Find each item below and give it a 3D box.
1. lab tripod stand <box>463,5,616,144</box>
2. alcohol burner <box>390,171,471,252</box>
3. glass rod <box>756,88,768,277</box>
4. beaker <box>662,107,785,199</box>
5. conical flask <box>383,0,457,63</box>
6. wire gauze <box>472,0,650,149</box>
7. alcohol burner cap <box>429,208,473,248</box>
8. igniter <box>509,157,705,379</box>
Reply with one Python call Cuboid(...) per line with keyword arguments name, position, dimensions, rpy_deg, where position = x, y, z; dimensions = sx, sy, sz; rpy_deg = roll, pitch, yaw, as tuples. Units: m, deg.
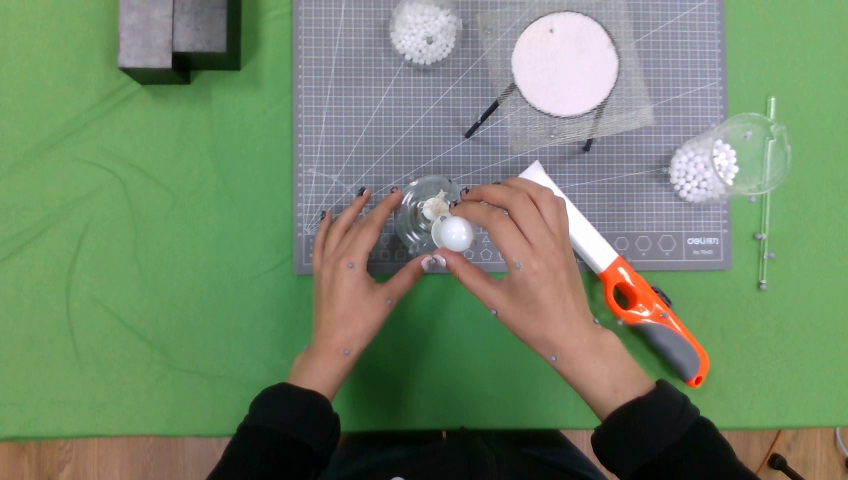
Cuboid(name="lab tripod stand", position=(0.109, -0.143, 0.561), dimensions=(0.148, 0.131, 0.148), rpy_deg=(0, 90, -2))
Cuboid(name="alcohol burner", position=(0.006, -0.029, 0.562), dimensions=(0.078, 0.119, 0.078), rpy_deg=(0, 86, 0))
Cuboid(name="glass rod", position=(0.355, -0.061, 0.635), dimensions=(0.008, 0.008, 0.199), rpy_deg=(3, 88, -3))
Cuboid(name="beaker", position=(0.284, -0.081, 0.584), dimensions=(0.084, 0.100, 0.074), rpy_deg=(-38, 90, -4))
Cuboid(name="conical flask", position=(-0.002, -0.219, 0.564), dimensions=(0.075, 0.122, 0.075), rpy_deg=(0, 87, -2))
Cuboid(name="wire gauze", position=(0.113, -0.144, 0.494), dimensions=(0.125, 0.011, 0.121), rpy_deg=(-13, 89, -2))
Cuboid(name="alcohol burner cap", position=(0.023, -0.010, 0.475), dimensions=(0.034, 0.048, 0.034), rpy_deg=(0, 92, -9))
Cuboid(name="igniter", position=(0.188, 0.029, 0.613), dimensions=(0.057, 0.025, 0.276), rpy_deg=(-43, 91, -20))
